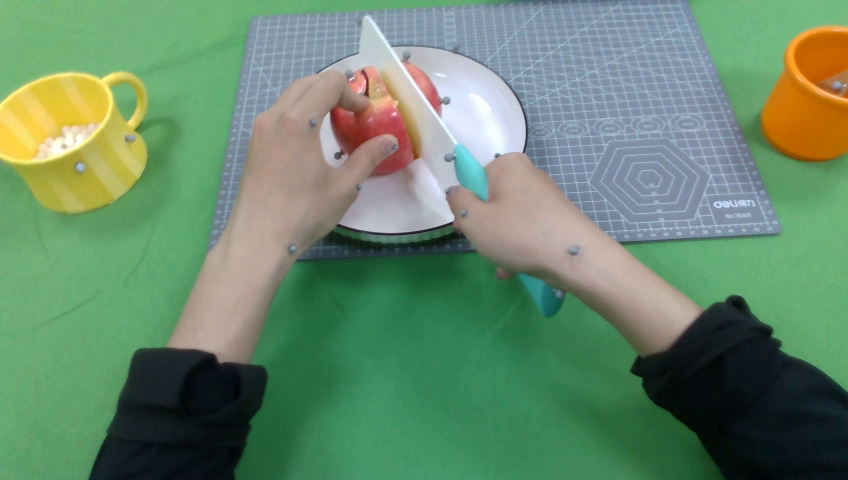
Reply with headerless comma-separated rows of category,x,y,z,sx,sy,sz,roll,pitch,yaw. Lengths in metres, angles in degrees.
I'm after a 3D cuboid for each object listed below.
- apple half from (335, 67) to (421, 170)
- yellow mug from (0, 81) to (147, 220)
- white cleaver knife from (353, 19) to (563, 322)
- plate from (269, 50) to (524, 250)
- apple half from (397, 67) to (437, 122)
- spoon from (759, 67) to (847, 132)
apple half,-0.039,-0.089,0.482,0.053,0.075,0.080,-42,59,-5
yellow mug,-0.289,-0.086,0.515,0.099,0.064,0.130,27,61,19
white cleaver knife,0.014,-0.059,0.451,0.021,0.066,0.284,-23,64,-18
plate,-0.022,-0.076,0.509,0.209,0.038,0.207,-1,57,2
apple half,-0.009,-0.104,0.496,0.033,0.082,0.080,-23,59,-19
spoon,0.359,-0.145,0.471,0.022,0.194,0.041,23,45,-35
